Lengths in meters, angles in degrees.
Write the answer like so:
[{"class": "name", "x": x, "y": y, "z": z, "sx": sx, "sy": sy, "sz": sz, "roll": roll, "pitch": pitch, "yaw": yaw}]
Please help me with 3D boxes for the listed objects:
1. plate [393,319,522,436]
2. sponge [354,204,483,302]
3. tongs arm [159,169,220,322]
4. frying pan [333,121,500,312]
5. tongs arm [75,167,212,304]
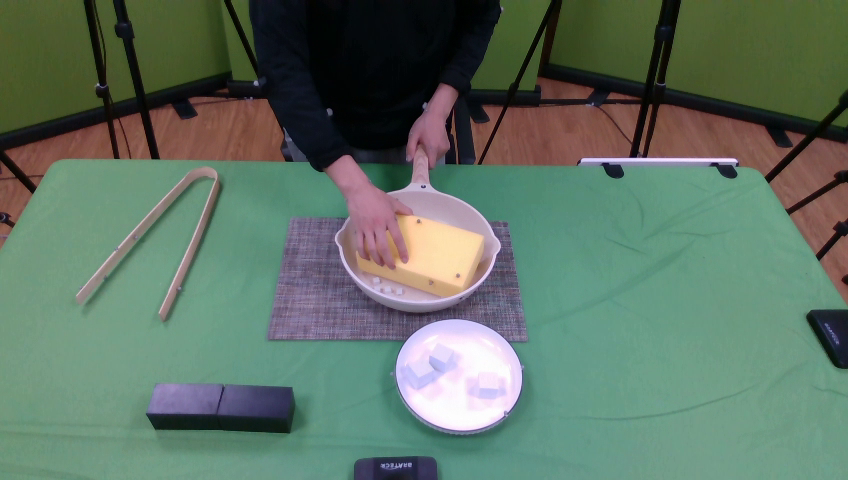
[{"class": "plate", "x": 0.053, "y": 0.222, "z": 0.979, "sx": 0.208, "sy": 0.039, "sz": 0.206, "roll": 3, "pitch": 46, "yaw": -2}, {"class": "sponge", "x": -0.008, "y": 0.022, "z": 1.113, "sx": 0.206, "sy": 0.061, "sz": 0.118, "roll": 17, "pitch": 59, "yaw": 12}, {"class": "tongs arm", "x": -0.446, "y": -0.005, "z": 1.165, "sx": 0.028, "sy": 0.028, "sz": 0.385, "roll": 2, "pitch": 46, "yaw": 0}, {"class": "frying pan", "x": -0.011, "y": -0.063, "z": 1.195, "sx": 0.307, "sy": 0.103, "sz": 0.485, "roll": 4, "pitch": 55, "yaw": -2}, {"class": "tongs arm", "x": -0.525, "y": -0.021, "z": 1.167, "sx": 0.051, "sy": 0.026, "sz": 0.383, "roll": 14, "pitch": 46, "yaw": 7}]
